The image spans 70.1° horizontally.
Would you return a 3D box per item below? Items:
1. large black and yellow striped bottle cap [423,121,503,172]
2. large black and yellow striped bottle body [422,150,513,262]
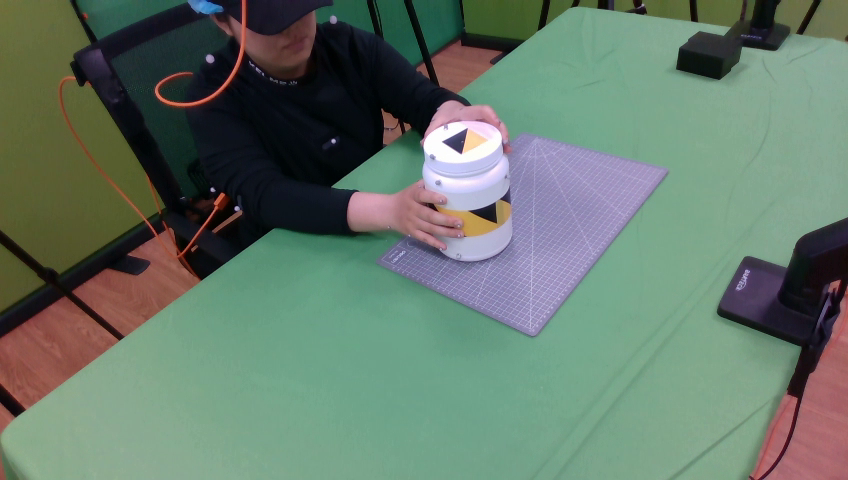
[{"bbox_3d":[0.056,-0.137,0.872,0.115,0.019,0.114,-4,41,4],"label":"large black and yellow striped bottle cap"},{"bbox_3d":[0.068,-0.073,0.926,0.131,0.185,0.130,-6,40,5],"label":"large black and yellow striped bottle body"}]
